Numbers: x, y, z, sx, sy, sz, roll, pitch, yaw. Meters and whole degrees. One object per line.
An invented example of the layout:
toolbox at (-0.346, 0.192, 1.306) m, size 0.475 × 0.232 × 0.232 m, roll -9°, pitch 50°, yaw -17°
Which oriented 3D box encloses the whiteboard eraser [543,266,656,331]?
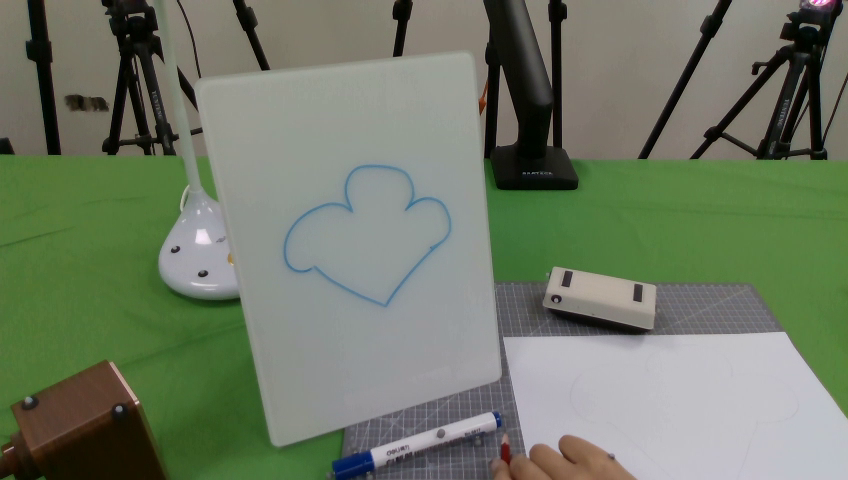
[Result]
whiteboard eraser at (0.187, 0.063, 0.645) m, size 0.112 × 0.042 × 0.055 m, roll 11°, pitch 37°, yaw 14°

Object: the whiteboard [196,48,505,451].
whiteboard at (-0.064, -0.004, 0.560) m, size 0.218 × 0.307 × 0.142 m, roll -12°, pitch 17°, yaw -17°

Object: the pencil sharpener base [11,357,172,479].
pencil sharpener base at (-0.244, 0.154, 0.447) m, size 0.077 × 0.108 × 0.061 m, roll -27°, pitch 44°, yaw -34°

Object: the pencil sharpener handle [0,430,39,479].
pencil sharpener handle at (-0.279, 0.164, 0.409) m, size 0.031 × 0.068 × 0.035 m, roll -27°, pitch 31°, yaw -34°

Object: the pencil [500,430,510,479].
pencil at (0.055, 0.209, 0.421) m, size 0.012 × 0.012 × 0.192 m, roll 5°, pitch 33°, yaw 6°

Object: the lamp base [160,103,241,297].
lamp base at (-0.237, -0.054, 0.684) m, size 0.177 × 0.182 × 0.160 m, roll 25°, pitch 41°, yaw 34°

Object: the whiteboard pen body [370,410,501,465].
whiteboard pen body at (-0.001, 0.167, 0.504) m, size 0.141 × 0.017 × 0.017 m, roll -12°, pitch 37°, yaw -16°

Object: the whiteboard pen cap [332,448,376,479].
whiteboard pen cap at (-0.056, 0.179, 0.486) m, size 0.033 × 0.018 × 0.018 m, roll -13°, pitch 37°, yaw -18°
